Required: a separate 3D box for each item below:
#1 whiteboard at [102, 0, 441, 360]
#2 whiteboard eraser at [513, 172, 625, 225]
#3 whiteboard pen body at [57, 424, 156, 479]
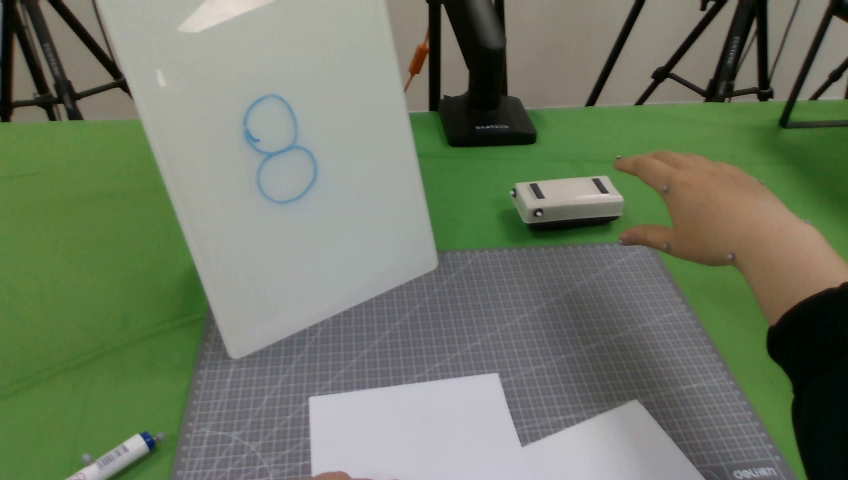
[{"bbox_3d":[-0.134,-0.091,0.552,0.217,0.307,0.142,-23,26,-26],"label":"whiteboard"},{"bbox_3d":[0.159,-0.045,0.671,0.113,0.042,0.055,-4,43,-9],"label":"whiteboard eraser"},{"bbox_3d":[-0.248,0.170,0.404,0.017,0.017,0.141,32,47,31],"label":"whiteboard pen body"}]
